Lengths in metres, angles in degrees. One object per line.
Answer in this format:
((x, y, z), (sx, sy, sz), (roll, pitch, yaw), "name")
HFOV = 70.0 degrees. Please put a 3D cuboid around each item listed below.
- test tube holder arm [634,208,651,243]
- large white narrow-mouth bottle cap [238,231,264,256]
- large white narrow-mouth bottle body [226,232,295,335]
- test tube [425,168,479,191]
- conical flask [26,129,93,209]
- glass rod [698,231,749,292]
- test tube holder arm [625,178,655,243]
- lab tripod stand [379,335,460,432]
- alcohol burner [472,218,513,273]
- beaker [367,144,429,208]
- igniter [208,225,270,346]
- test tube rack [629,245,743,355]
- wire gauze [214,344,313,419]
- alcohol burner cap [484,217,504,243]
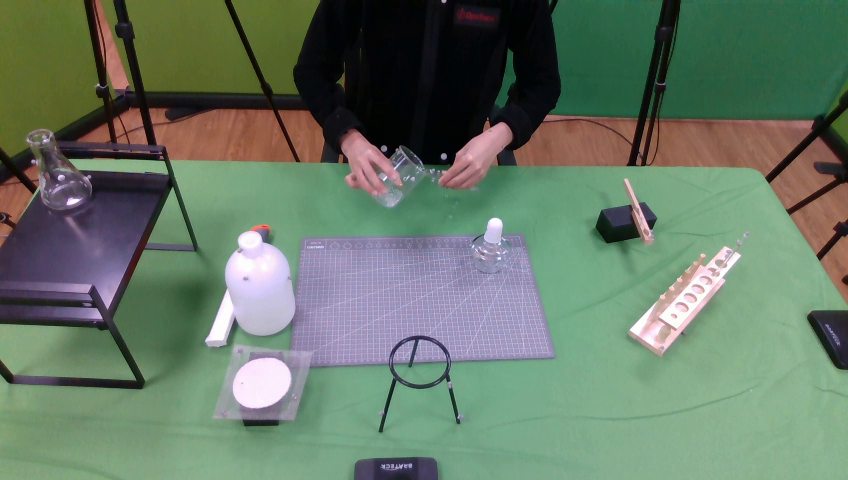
((0.428, -0.030, 1.189), (0.010, 0.015, 0.087), (1, 47, -2), "test tube holder arm")
((-0.266, 0.006, 0.932), (0.038, 0.024, 0.037), (2, 46, -2), "large white narrow-mouth bottle cap")
((-0.270, 0.065, 0.995), (0.102, 0.195, 0.101), (2, 46, -2), "large white narrow-mouth bottle body")
((0.058, -0.118, 1.195), (0.151, 0.017, 0.017), (12, 33, -45), "test tube")
((-0.575, -0.113, 0.946), (0.075, 0.122, 0.075), (2, 46, -2), "conical flask")
((0.515, 0.044, 1.051), (0.008, 0.200, 0.008), (1, 55, -1), "glass rod")
((0.433, -0.063, 1.220), (0.013, 0.015, 0.177), (1, 47, -3), "test tube holder arm")
((-0.011, 0.214, 0.911), (0.148, 0.132, 0.147), (1, 45, 0), "lab tripod stand")
((0.128, 0.005, 1.132), (0.078, 0.120, 0.077), (0, 47, 0), "alcohol burner")
((-0.049, -0.115, 1.116), (0.100, 0.084, 0.073), (-43, 62, 15), "beaker")
((-0.331, 0.072, 1.099), (0.057, 0.025, 0.275), (-4, 45, 10), "igniter")
((0.474, 0.095, 1.091), (0.242, 0.085, 0.066), (-34, 56, -31), "test tube rack")
((-0.241, 0.213, 0.915), (0.121, 0.011, 0.124), (5, 46, 1), "wire gauze")
((0.129, -0.021, 1.107), (0.034, 0.048, 0.033), (4, 40, -3), "alcohol burner cap")
